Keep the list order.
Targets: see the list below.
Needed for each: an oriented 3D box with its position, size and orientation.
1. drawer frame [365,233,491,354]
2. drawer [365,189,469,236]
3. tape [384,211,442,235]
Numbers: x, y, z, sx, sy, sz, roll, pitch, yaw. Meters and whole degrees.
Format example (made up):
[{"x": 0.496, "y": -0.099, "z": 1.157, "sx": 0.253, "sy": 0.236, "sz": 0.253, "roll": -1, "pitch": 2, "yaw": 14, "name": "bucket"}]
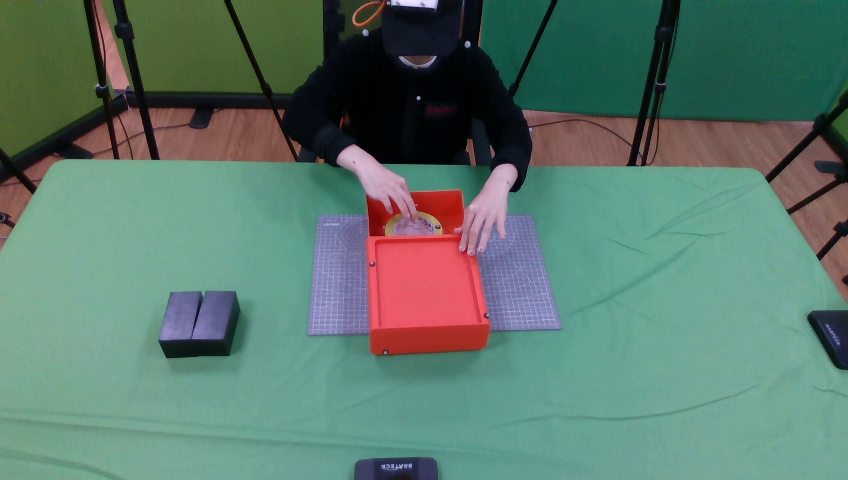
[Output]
[{"x": 0.000, "y": 0.088, "z": 1.066, "sx": 0.202, "sy": 0.083, "sz": 0.212, "roll": -2, "pitch": 47, "yaw": -7, "name": "drawer frame"}, {"x": -0.012, "y": -0.002, "z": 1.157, "sx": 0.195, "sy": 0.073, "sz": 0.210, "roll": -1, "pitch": 46, "yaw": -6, "name": "drawer"}, {"x": -0.020, "y": -0.001, "z": 1.163, "sx": 0.117, "sy": 0.053, "sz": 0.116, "roll": 1, "pitch": 45, "yaw": -1, "name": "tape"}]
